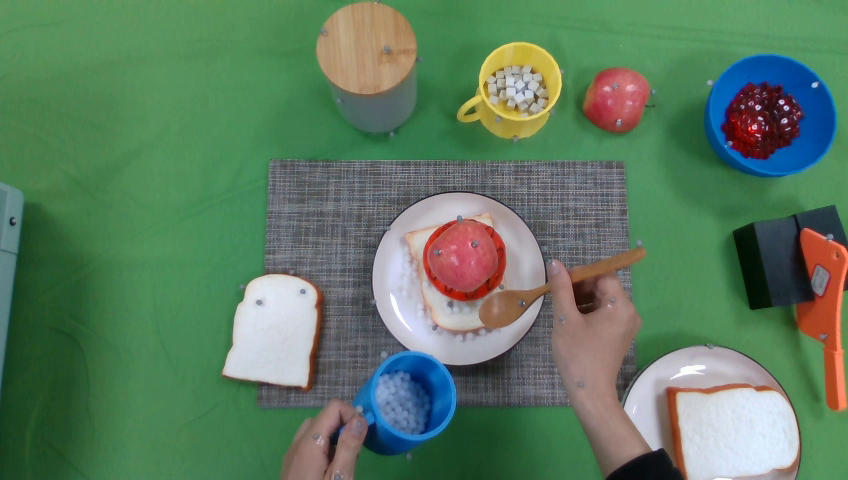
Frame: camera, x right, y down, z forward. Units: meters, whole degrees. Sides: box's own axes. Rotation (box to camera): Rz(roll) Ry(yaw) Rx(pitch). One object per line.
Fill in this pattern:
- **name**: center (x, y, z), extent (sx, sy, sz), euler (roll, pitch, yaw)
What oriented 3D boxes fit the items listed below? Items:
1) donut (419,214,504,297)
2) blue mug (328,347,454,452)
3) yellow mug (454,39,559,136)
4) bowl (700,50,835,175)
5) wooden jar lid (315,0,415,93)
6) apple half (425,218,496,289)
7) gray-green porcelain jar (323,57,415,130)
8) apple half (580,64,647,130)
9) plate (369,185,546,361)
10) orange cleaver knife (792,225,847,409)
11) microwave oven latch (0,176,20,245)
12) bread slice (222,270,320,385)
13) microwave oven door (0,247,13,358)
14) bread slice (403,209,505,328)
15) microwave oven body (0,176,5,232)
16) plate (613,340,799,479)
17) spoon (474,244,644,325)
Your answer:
- **donut**: center (0.044, 0.018, 0.698), extent (0.099, 0.048, 0.098), euler (0, 80, 0)
- **blue mug**: center (-0.039, 0.165, 0.591), extent (0.117, 0.106, 0.082), euler (-20, 73, -26)
- **yellow mug**: center (0.098, -0.181, 0.751), extent (0.131, 0.064, 0.099), euler (-23, 81, -4)
- **bowl**: center (0.402, -0.143, 0.740), extent (0.151, 0.077, 0.151), euler (0, 81, 0)
- **wooden jar lid**: center (-0.064, -0.209, 0.661), extent (0.108, 0.021, 0.108), euler (0, 78, 0)
- **apple half**: center (0.041, 0.014, 0.663), extent (0.081, 0.033, 0.081), euler (-1, 81, 6)
- **gray-green porcelain jar**: center (-0.063, -0.197, 0.722), extent (0.106, 0.127, 0.105), euler (0, 80, 0)
- **apple half**: center (0.240, -0.185, 0.759), extent (0.074, 0.053, 0.080), euler (22, 81, 6)
- **plate**: center (0.039, 0.039, 0.723), extent (0.208, 0.039, 0.207), euler (0, 80, 0)
- **orange cleaver knife**: center (0.455, 0.088, 0.698), extent (0.012, 0.077, 0.212), euler (-11, 102, -9)
- **microwave oven latch**: center (-0.503, -0.035, 0.717), extent (0.030, 0.029, 0.079), euler (4, 81, 0)
- **bread slice**: center (-0.180, 0.101, 0.722), extent (0.105, 0.019, 0.131), euler (8, 82, 0)
- **microwave oven door**: center (-0.508, 0.163, 0.580), extent (0.039, 0.244, 0.354), euler (0, 80, 0)
- **bread slice**: center (0.044, 0.037, 0.724), extent (0.107, 0.018, 0.134), euler (-16, 82, -3)
- **microwave oven body**: center (-0.653, 0.121, 0.592), extent (0.326, 0.261, 0.440), euler (0, 81, 0)
- **plate**: center (0.318, 0.220, 0.697), extent (0.209, 0.038, 0.208), euler (0, 80, 0)
- **spoon**: center (0.125, 0.043, 0.591), extent (0.022, 0.193, 0.041), euler (20, 55, -36)
